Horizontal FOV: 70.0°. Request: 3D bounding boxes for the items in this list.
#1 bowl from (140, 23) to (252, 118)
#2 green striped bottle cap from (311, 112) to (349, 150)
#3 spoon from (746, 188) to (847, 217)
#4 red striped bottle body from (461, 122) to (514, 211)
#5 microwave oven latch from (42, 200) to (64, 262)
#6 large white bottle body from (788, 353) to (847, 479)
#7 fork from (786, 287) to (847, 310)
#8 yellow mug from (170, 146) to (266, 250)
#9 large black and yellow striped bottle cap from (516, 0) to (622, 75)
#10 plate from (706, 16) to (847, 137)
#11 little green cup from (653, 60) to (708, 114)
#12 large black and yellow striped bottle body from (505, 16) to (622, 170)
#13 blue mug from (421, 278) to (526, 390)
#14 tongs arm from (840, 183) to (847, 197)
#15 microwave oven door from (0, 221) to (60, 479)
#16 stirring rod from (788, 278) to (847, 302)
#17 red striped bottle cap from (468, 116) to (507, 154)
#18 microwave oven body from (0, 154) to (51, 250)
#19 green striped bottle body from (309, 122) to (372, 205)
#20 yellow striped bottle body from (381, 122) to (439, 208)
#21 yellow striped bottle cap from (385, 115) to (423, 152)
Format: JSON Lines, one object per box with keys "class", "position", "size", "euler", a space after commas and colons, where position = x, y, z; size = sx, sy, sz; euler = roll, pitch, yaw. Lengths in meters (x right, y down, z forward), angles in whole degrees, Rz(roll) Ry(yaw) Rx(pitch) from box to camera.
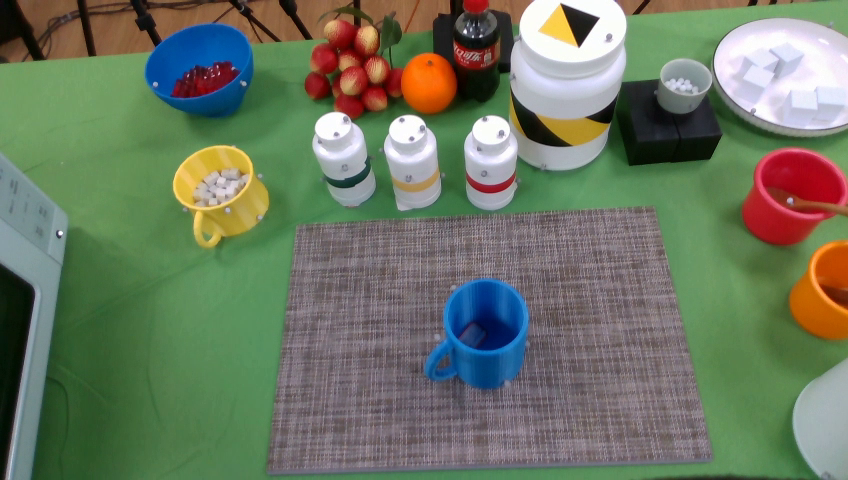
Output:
{"class": "bowl", "position": [-0.313, -0.229, 0.870], "size": [0.151, 0.077, 0.150], "euler": [-2, 60, 4]}
{"class": "green striped bottle cap", "position": [-0.110, -0.128, 0.707], "size": [0.044, 0.020, 0.044], "euler": [-1, 61, 2]}
{"class": "spoon", "position": [0.425, -0.034, 0.651], "size": [0.041, 0.192, 0.022], "euler": [-19, 105, -9]}
{"class": "red striped bottle body", "position": [0.078, -0.092, 0.730], "size": [0.063, 0.121, 0.062], "euler": [-4, 58, 7]}
{"class": "microwave oven latch", "position": [-0.474, -0.010, 0.759], "size": [0.030, 0.030, 0.078], "euler": [-10, 60, -1]}
{"class": "large white bottle body", "position": [0.418, 0.149, 0.520], "size": [0.130, 0.186, 0.129], "euler": [-2, 59, 4]}
{"class": "fork", "position": [0.471, 0.047, 0.596], "size": [0.206, 0.019, 0.028], "euler": [-18, 42, 49]}
{"class": "yellow mug", "position": [-0.264, -0.048, 0.767], "size": [0.100, 0.064, 0.130], "euler": [6, 61, 8]}
{"class": "large black and yellow striped bottle cap", "position": [0.158, -0.230, 0.665], "size": [0.115, 0.019, 0.114], "euler": [-4, 61, 7]}
{"class": "plate", "position": [0.483, -0.216, 0.812], "size": [0.209, 0.038, 0.207], "euler": [-2, 60, 4]}
{"class": "little green cup", "position": [0.315, -0.188, 0.752], "size": [0.061, 0.039, 0.061], "euler": [-1, 57, 2]}
{"class": "large black and yellow striped bottle body", "position": [0.166, -0.188, 0.740], "size": [0.131, 0.185, 0.129], "euler": [-2, 60, 4]}
{"class": "blue mug", "position": [0.047, 0.107, 0.621], "size": [0.116, 0.107, 0.081], "euler": [-31, 61, -12]}
{"class": "tongs arm", "position": [0.636, 0.048, 0.646], "size": [0.051, 0.027, 0.381], "euler": [-35, 63, -18]}
{"class": "microwave oven door", "position": [-0.447, 0.124, 0.561], "size": [0.039, 0.246, 0.352], "euler": [-11, 59, -1]}
{"class": "stirring rod", "position": [0.441, 0.063, 0.596], "size": [0.014, 0.006, 0.175], "euler": [-26, 19, -15]}
{"class": "red striped bottle cap", "position": [0.072, -0.120, 0.685], "size": [0.044, 0.018, 0.044], "euler": [0, 58, 1]}
{"class": "microwave oven body", "position": [-0.598, 0.118, 0.584], "size": [0.326, 0.262, 0.437], "euler": [-11, 60, -2]}
{"class": "green striped bottle body", "position": [-0.104, -0.101, 0.752], "size": [0.063, 0.120, 0.062], "euler": [-2, 60, 4]}
{"class": "yellow striped bottle body", "position": [-0.017, -0.097, 0.741], "size": [0.063, 0.121, 0.062], "euler": [-3, 59, 5]}
{"class": "yellow striped bottle cap", "position": [-0.023, -0.123, 0.696], "size": [0.044, 0.019, 0.044], "euler": [0, 57, 0]}
